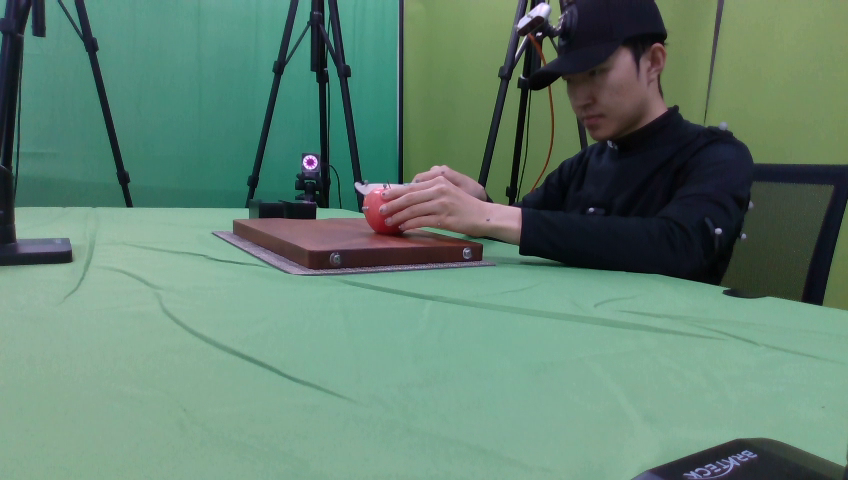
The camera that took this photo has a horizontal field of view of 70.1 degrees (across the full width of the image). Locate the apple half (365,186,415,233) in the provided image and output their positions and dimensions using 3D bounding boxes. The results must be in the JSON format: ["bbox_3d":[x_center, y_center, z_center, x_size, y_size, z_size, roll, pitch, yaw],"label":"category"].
[{"bbox_3d":[-0.046,-0.046,0.942,0.081,0.074,0.053,0,9,-42],"label":"apple half"}]

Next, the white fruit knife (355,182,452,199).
[{"bbox_3d":[-0.028,-0.082,0.987,0.208,0.027,0.016,-2,11,-44],"label":"white fruit knife"}]

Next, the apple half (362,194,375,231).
[{"bbox_3d":[-0.073,-0.051,0.970,0.082,0.081,0.032,-4,10,-42],"label":"apple half"}]
